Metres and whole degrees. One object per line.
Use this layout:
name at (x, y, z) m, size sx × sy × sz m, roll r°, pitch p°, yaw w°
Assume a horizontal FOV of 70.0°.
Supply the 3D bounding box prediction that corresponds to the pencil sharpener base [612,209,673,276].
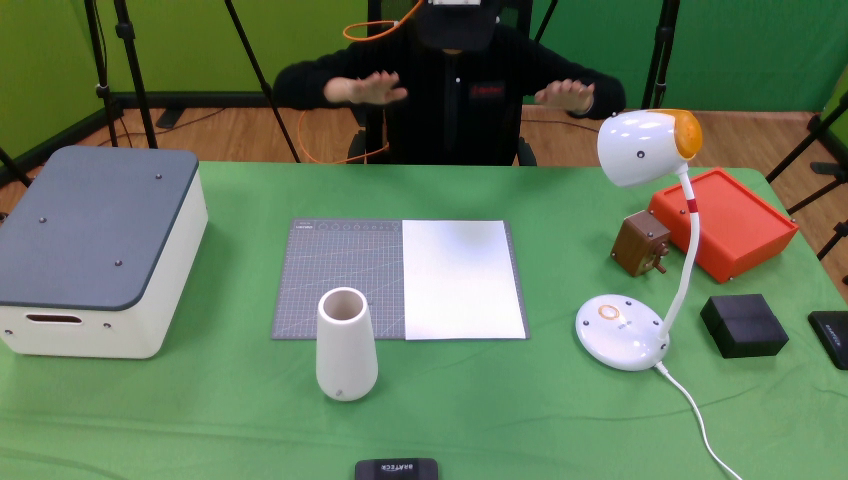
pencil sharpener base at (0.416, 0.007, 1.158) m, size 0.061 × 0.107 × 0.076 m, roll -21°, pitch 51°, yaw -22°

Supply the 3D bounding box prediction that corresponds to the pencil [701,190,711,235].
pencil at (0.585, -0.059, 1.256) m, size 0.012 × 0.012 × 0.193 m, roll 16°, pitch 34°, yaw 11°

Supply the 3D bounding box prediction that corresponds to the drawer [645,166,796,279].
drawer at (0.600, -0.041, 1.236) m, size 0.195 × 0.073 × 0.210 m, roll -21°, pitch 51°, yaw -23°

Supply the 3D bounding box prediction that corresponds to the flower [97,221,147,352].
flower at (-0.557, 0.069, 1.089) m, size 0.044 × 0.038 × 0.359 m, roll -24°, pitch 47°, yaw -19°

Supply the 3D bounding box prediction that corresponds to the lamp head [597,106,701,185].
lamp head at (0.328, -0.138, 0.865) m, size 0.112 × 0.113 × 0.122 m, roll -36°, pitch 20°, yaw -32°

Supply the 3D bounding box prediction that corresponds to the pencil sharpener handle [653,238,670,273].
pencil sharpener handle at (0.444, 0.030, 1.120) m, size 0.036 × 0.068 × 0.030 m, roll -25°, pitch 52°, yaw -18°

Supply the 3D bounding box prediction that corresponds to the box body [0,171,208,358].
box body at (-0.546, 0.017, 1.045) m, size 0.254 × 0.161 × 0.361 m, roll 2°, pitch 46°, yaw -2°

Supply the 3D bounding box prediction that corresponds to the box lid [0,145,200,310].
box lid at (-0.541, -0.037, 0.993) m, size 0.263 × 0.015 × 0.369 m, roll 3°, pitch 45°, yaw -2°

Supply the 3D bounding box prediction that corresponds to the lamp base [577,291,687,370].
lamp base at (0.361, 0.110, 1.003) m, size 0.160 × 0.181 × 0.178 m, roll -31°, pitch 57°, yaw -28°

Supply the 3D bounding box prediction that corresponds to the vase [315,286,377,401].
vase at (-0.119, 0.159, 0.911) m, size 0.098 × 0.201 × 0.097 m, roll 2°, pitch 47°, yaw -2°

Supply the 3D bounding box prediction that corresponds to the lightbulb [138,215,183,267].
lightbulb at (-0.496, 0.003, 1.131) m, size 0.059 × 0.060 × 0.107 m, roll 18°, pitch 63°, yaw 13°

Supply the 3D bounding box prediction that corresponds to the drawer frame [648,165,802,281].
drawer frame at (0.603, -0.041, 1.233) m, size 0.202 × 0.083 × 0.212 m, roll -21°, pitch 51°, yaw -23°
